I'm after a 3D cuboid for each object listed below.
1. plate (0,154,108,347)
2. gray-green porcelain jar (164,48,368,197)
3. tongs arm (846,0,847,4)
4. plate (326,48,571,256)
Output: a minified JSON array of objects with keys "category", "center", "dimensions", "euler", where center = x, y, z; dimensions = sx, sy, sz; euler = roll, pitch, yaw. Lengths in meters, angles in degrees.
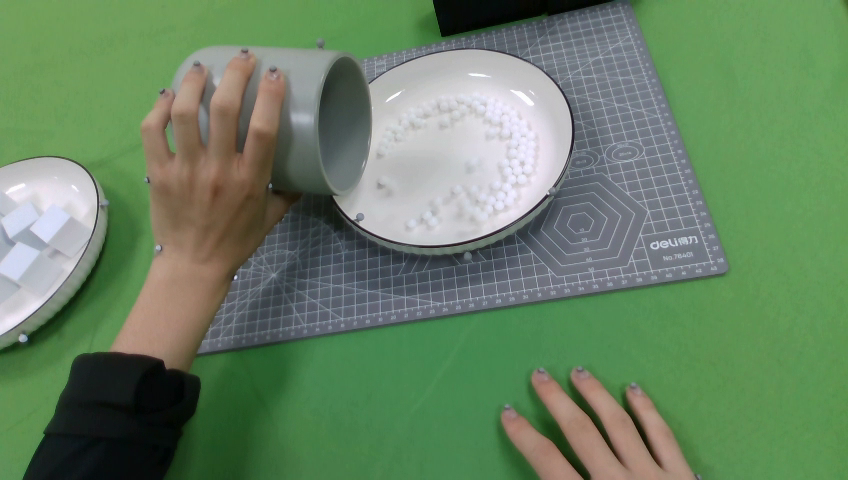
[{"category":"plate","center":[-0.382,0.013,0.555],"dimensions":[0.207,0.039,0.205],"euler":[-6,58,10]},{"category":"gray-green porcelain jar","center":[-0.119,-0.091,0.462],"dimensions":[0.126,0.107,0.105],"euler":[6,61,14]},{"category":"tongs arm","center":[0.370,-0.130,0.459],"dimensions":[0.028,0.028,0.384],"euler":[-6,58,9]},{"category":"plate","center":[0.017,-0.074,0.504],"dimensions":[0.209,0.038,0.207],"euler":[-7,58,11]}]
